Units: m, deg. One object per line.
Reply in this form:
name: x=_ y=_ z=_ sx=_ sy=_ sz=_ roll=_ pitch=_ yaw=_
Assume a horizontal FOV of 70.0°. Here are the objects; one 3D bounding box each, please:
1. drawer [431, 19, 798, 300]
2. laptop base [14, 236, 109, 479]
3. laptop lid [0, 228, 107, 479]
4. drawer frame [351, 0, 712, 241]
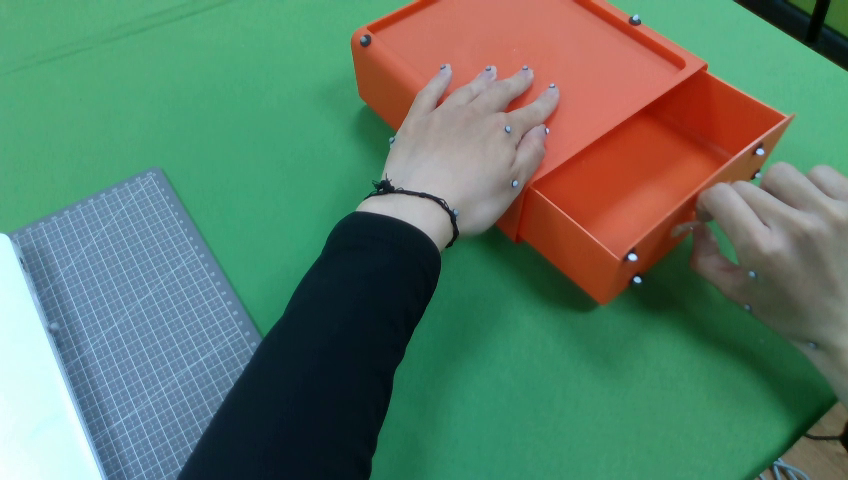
drawer: x=0.134 y=-0.086 z=0.476 sx=0.194 sy=0.074 sz=0.210 roll=-35 pitch=61 yaw=-20
laptop base: x=-0.394 y=0.156 z=0.362 sx=0.354 sy=0.023 sz=0.233 roll=-30 pitch=64 yaw=-18
laptop lid: x=-0.393 y=0.151 z=0.351 sx=0.357 sy=0.013 sz=0.239 roll=-28 pitch=63 yaw=-17
drawer frame: x=0.083 y=-0.133 z=0.510 sx=0.201 sy=0.083 sz=0.211 roll=-35 pitch=62 yaw=-20
